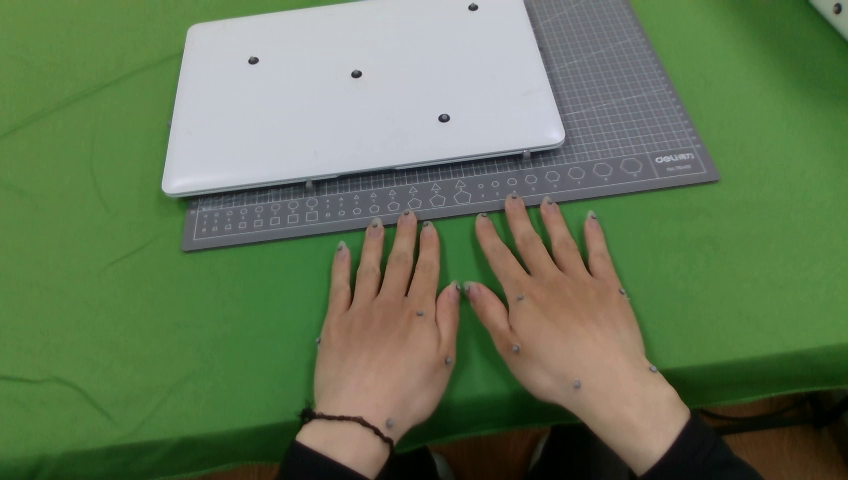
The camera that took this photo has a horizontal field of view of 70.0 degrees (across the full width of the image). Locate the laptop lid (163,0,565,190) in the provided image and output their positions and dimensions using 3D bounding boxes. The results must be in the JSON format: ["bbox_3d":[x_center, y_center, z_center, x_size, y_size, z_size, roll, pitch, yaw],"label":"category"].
[{"bbox_3d":[-0.063,-0.162,0.577,0.357,0.013,0.239,-6,58,1],"label":"laptop lid"}]

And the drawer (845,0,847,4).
[{"bbox_3d":[0.508,-0.240,0.552,0.194,0.074,0.209,-9,57,2],"label":"drawer"}]

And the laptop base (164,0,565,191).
[{"bbox_3d":[-0.062,-0.157,0.588,0.354,0.023,0.233,-8,59,0],"label":"laptop base"}]

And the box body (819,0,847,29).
[{"bbox_3d":[0.509,-0.292,0.545,0.254,0.162,0.360,-11,55,-3],"label":"box body"}]
